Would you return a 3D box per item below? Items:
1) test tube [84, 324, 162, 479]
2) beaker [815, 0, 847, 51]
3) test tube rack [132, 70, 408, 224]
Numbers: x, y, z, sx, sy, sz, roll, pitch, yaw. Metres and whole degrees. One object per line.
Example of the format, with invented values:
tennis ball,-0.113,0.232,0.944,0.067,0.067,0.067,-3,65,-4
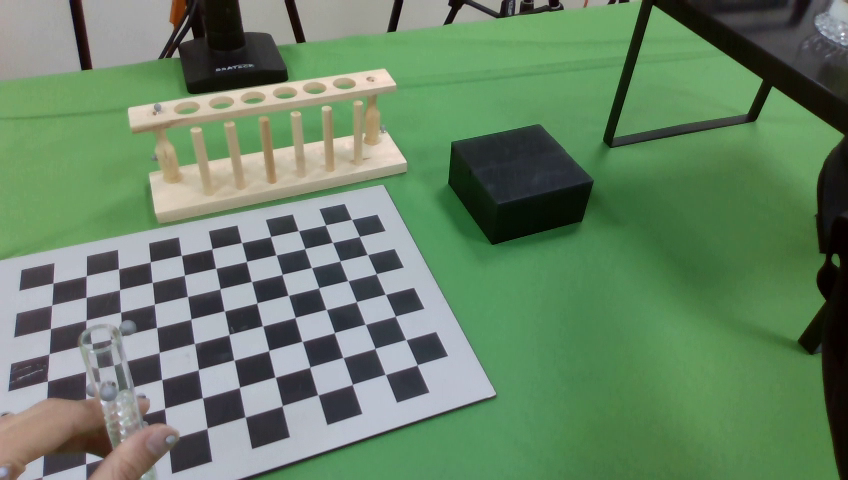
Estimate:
test tube,-0.135,0.098,0.284,0.017,0.151,0.017,5,36,-3
beaker,0.348,-0.198,0.452,0.074,0.101,0.083,-27,52,-27
test tube rack,-0.139,-0.094,0.586,0.243,0.086,0.066,-14,46,-18
